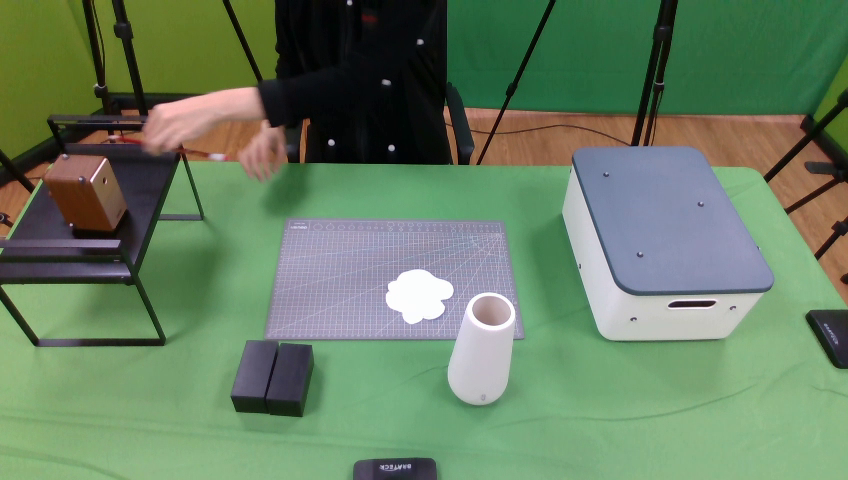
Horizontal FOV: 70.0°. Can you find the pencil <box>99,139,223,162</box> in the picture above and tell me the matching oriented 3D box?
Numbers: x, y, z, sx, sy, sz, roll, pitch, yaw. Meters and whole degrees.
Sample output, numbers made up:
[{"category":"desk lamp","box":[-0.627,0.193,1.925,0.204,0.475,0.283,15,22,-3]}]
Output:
[{"category":"pencil","box":[-0.431,-0.148,0.997,0.194,0.012,0.012,8,46,-10]}]

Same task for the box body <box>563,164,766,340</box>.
[{"category":"box body","box":[0.421,0.003,1.130,0.254,0.161,0.361,0,46,-5]}]

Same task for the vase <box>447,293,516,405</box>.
[{"category":"vase","box":[0.091,0.168,0.921,0.098,0.201,0.097,3,47,-3]}]

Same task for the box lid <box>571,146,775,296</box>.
[{"category":"box lid","box":[0.424,-0.048,1.074,0.263,0.015,0.369,-1,46,-4]}]

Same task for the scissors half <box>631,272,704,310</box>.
[{"category":"scissors half","box":[0.460,0.092,1.132,0.175,0.040,0.013,-22,83,-21]}]

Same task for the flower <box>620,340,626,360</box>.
[{"category":"flower","box":[0.416,0.065,1.186,0.038,0.044,0.360,29,64,-20]}]

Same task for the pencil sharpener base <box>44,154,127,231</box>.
[{"category":"pencil sharpener base","box":[-0.512,-0.071,0.918,0.077,0.107,0.061,3,47,0]}]

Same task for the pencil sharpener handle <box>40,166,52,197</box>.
[{"category":"pencil sharpener handle","box":[-0.562,-0.085,0.911,0.030,0.068,0.036,3,58,0]}]

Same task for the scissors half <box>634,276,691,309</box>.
[{"category":"scissors half","box":[0.454,0.096,1.144,0.175,0.040,0.013,-20,88,-31]}]
